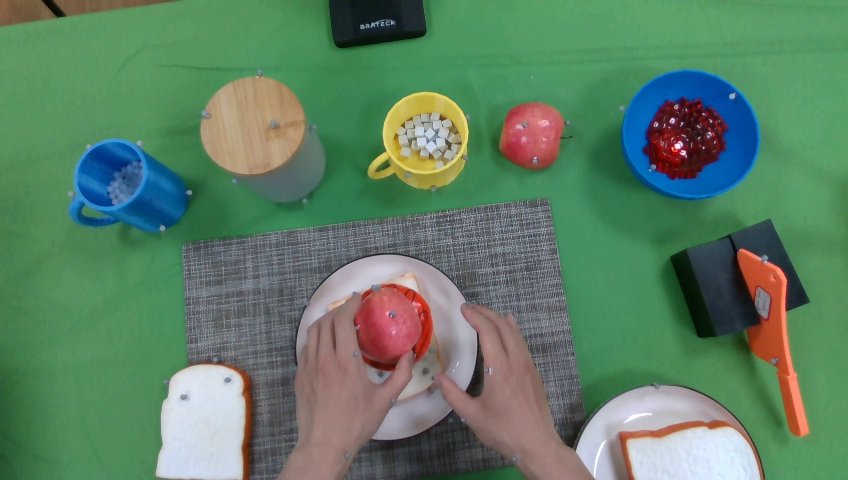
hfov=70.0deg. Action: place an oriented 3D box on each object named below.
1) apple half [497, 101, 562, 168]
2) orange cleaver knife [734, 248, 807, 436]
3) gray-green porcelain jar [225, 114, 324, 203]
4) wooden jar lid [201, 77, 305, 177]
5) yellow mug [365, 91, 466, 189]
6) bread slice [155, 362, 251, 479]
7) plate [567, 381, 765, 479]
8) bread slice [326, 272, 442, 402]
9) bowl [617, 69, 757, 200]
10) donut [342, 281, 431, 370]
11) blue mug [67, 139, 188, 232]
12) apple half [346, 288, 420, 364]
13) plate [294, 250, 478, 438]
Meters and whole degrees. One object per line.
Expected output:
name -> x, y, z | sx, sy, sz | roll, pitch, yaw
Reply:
apple half -> 0.128, -0.132, 0.728 | 0.074, 0.053, 0.080 | 15, 81, 7
orange cleaver knife -> 0.376, 0.110, 0.661 | 0.012, 0.077, 0.212 | -18, 101, -8
gray-green porcelain jar -> -0.175, -0.104, 0.695 | 0.106, 0.127, 0.105 | 0, 79, 2
wooden jar lid -> -0.178, -0.116, 0.634 | 0.108, 0.021, 0.108 | -1, 78, 3
yellow mug -> -0.013, -0.109, 0.722 | 0.131, 0.064, 0.099 | -31, 80, -3
bread slice -> -0.251, 0.206, 0.692 | 0.105, 0.019, 0.131 | 0, 81, 1
plate -> 0.258, 0.259, 0.659 | 0.209, 0.038, 0.208 | 0, 80, 2
bread slice -> -0.038, 0.114, 0.691 | 0.107, 0.018, 0.134 | -23, 82, -1
bowl -> 0.293, -0.112, 0.706 | 0.151, 0.077, 0.151 | 0, 80, 2
donut -> -0.041, 0.094, 0.667 | 0.099, 0.048, 0.098 | 0, 79, 1
blue mug -> -0.350, -0.051, 0.701 | 0.116, 0.106, 0.082 | -33, 80, -4
apple half -> -0.043, 0.090, 0.631 | 0.081, 0.033, 0.081 | -1, 80, 7
plate -> -0.043, 0.117, 0.692 | 0.207, 0.039, 0.206 | 0, 80, 2
